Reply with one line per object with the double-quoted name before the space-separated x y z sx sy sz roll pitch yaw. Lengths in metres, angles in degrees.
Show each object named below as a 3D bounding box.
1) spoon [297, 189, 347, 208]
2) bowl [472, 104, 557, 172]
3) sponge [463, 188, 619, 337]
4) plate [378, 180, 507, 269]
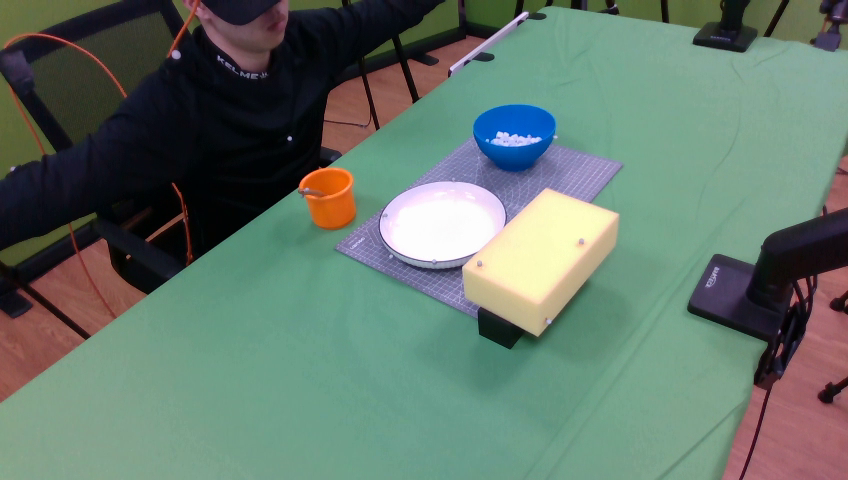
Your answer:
"spoon" -0.169 -0.070 0.979 0.041 0.194 0.021 0 85 10
"bowl" 0.165 -0.178 1.105 0.151 0.077 0.150 -4 40 4
"sponge" 0.160 0.022 0.814 0.117 0.061 0.207 25 50 32
"plate" 0.031 -0.022 0.974 0.209 0.038 0.208 -4 40 4
